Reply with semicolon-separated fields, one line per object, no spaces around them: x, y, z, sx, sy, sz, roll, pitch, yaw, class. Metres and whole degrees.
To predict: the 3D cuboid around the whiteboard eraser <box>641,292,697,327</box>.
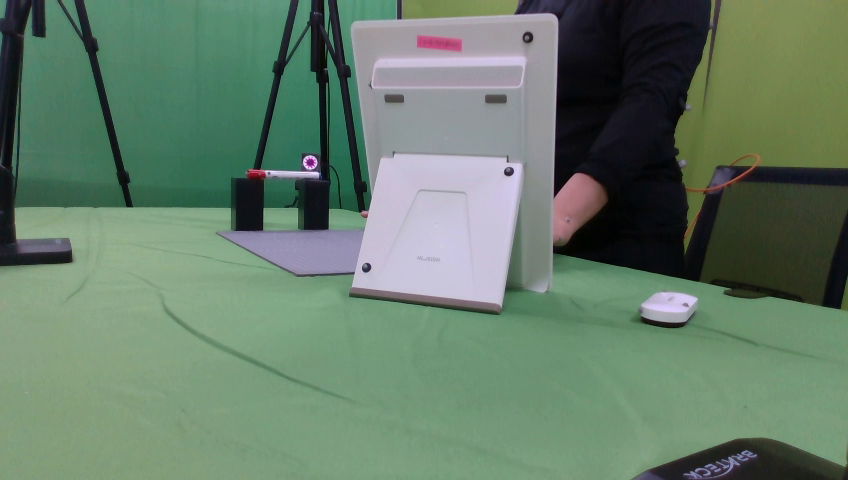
0.240;0.066;0.590;0.041;0.019;0.102;6;7;31;whiteboard eraser

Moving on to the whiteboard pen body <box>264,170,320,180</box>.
-0.269;-0.127;1.179;0.141;0.017;0.017;-2;8;-36;whiteboard pen body

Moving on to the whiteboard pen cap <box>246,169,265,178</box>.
-0.318;-0.125;1.143;0.032;0.017;0.017;-1;8;-35;whiteboard pen cap

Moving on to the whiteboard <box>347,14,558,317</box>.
0.012;-0.056;0.609;0.216;0.305;0.144;5;27;20;whiteboard
